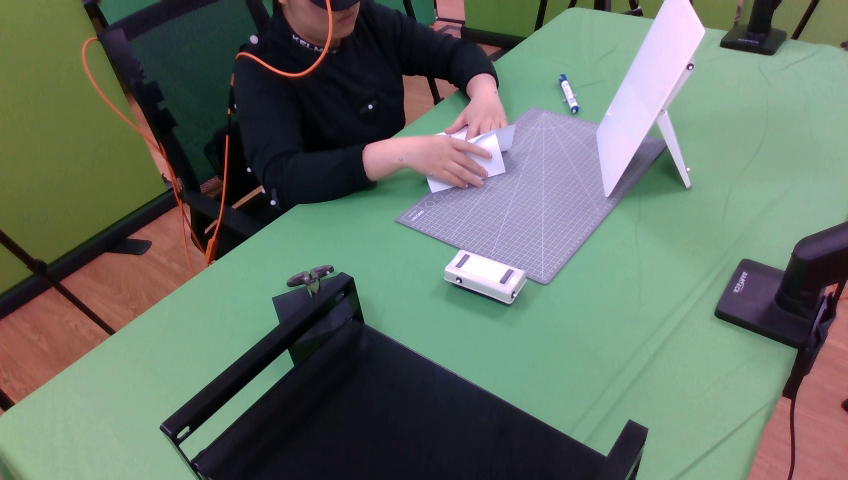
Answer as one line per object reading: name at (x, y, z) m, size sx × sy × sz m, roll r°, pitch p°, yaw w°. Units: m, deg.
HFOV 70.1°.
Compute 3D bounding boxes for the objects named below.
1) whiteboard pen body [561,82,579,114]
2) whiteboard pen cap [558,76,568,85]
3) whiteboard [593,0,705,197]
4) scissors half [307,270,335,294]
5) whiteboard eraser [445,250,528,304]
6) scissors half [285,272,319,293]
whiteboard pen body at (0.311, -0.311, 1.297) m, size 0.017 × 0.017 × 0.140 m, roll -6°, pitch 41°, yaw 2°
whiteboard pen cap at (0.310, -0.350, 1.340) m, size 0.018 × 0.018 × 0.033 m, roll -6°, pitch 41°, yaw 2°
whiteboard at (0.421, -0.227, 1.009) m, size 0.144 × 0.305 × 0.216 m, roll 17°, pitch 41°, yaw -3°
scissors half at (-0.151, 0.061, 0.872) m, size 0.040 × 0.013 × 0.175 m, roll -5°, pitch 6°, yaw -4°
whiteboard eraser at (0.090, 0.056, 0.882) m, size 0.112 × 0.042 × 0.056 m, roll 17°, pitch 44°, yaw 27°
scissors half at (-0.171, 0.064, 0.868) m, size 0.040 × 0.013 × 0.174 m, roll -12°, pitch 8°, yaw -21°
